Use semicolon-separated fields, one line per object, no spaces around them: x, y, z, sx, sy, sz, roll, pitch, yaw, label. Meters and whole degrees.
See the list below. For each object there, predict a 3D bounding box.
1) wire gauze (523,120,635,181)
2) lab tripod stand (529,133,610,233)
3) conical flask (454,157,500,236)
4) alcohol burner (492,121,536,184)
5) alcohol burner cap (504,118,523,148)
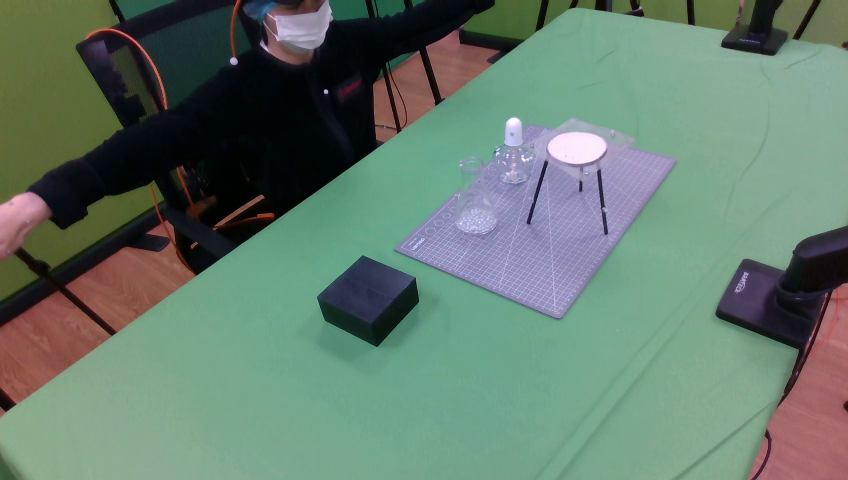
0.233;-0.143;0.913;0.122;0.011;0.124;-32;45;-25;wire gauze
0.236;-0.089;0.953;0.148;0.132;0.147;-5;42;5;lab tripod stand
0.081;-0.072;0.966;0.075;0.122;0.075;-5;40;4;conical flask
0.159;-0.158;1.064;0.078;0.119;0.077;-3;41;3;alcohol burner
0.154;-0.186;1.042;0.034;0.048;0.033;-4;33;3;alcohol burner cap
